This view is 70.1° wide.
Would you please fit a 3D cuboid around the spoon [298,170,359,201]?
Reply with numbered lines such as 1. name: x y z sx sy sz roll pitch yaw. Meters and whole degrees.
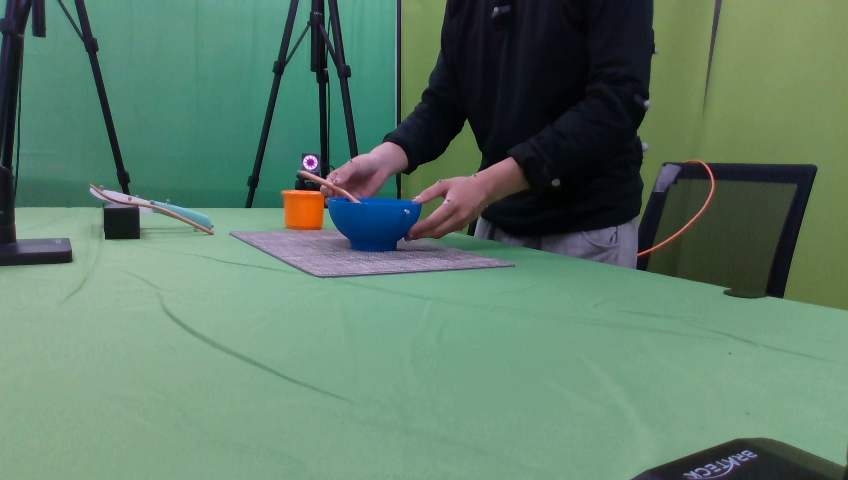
1. spoon: -0.133 -0.076 1.003 0.193 0.021 0.042 32 24 19

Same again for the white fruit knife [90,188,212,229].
1. white fruit knife: -0.478 -0.058 1.073 0.208 0.027 0.016 17 -4 -30

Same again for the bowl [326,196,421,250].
1. bowl: -0.081 -0.027 0.958 0.151 0.077 0.151 2 7 0

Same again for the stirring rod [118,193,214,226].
1. stirring rod: -0.484 -0.057 1.142 0.177 0.006 0.014 21 -4 -29

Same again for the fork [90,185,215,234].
1. fork: -0.452 -0.049 1.018 0.208 0.018 0.028 21 -7 -33
